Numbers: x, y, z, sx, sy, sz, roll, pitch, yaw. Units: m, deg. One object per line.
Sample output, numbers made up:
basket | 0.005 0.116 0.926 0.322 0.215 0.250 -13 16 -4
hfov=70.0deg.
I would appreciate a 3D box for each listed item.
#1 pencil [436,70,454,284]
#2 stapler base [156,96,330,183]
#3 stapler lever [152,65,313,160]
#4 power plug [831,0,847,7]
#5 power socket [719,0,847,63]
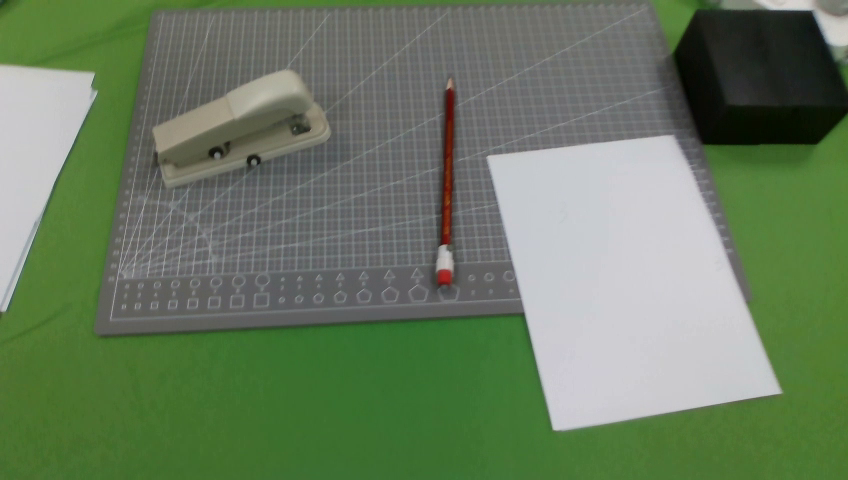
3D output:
pencil | 0.017 -0.056 0.460 0.012 0.012 0.192 3 63 -1
stapler base | -0.138 -0.083 0.458 0.131 0.024 0.041 -20 65 -10
stapler lever | -0.138 -0.093 0.436 0.118 0.040 0.026 -20 65 -11
power plug | 0.376 -0.224 0.521 0.072 0.053 0.035 -33 69 -16
power socket | 0.302 -0.242 0.552 0.225 0.033 0.072 42 69 17
